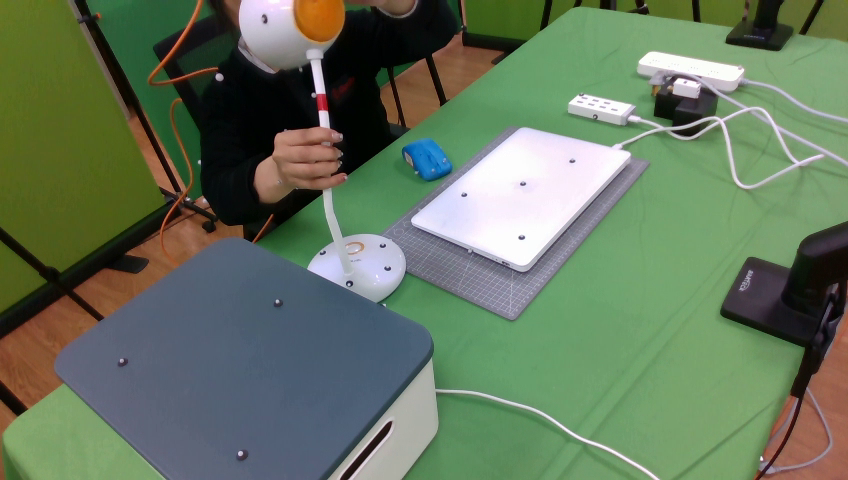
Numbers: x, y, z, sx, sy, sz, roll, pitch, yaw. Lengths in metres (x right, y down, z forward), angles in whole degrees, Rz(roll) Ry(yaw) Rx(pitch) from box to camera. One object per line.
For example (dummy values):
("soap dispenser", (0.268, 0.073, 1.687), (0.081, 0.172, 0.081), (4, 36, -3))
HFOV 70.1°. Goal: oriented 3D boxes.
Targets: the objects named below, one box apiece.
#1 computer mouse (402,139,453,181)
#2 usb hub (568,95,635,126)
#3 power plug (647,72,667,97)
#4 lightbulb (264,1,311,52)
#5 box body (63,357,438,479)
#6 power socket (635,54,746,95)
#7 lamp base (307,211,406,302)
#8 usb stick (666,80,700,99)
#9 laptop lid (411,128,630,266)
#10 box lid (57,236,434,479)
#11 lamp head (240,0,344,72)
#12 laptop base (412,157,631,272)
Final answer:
("computer mouse", (0.005, -0.159, 1.165), (0.063, 0.041, 0.116), (-21, 45, -17))
("usb hub", (0.360, -0.264, 1.228), (0.124, 0.025, 0.049), (24, 49, 34))
("power plug", (0.493, -0.321, 1.261), (0.073, 0.052, 0.035), (1, 20, -41))
("lightbulb", (-0.169, -0.274, 0.761), (0.060, 0.059, 0.107), (-22, 9, -15))
("box body", (-0.189, 0.179, 0.702), (0.361, 0.161, 0.255), (22, 49, 32))
("power socket", (0.564, -0.357, 1.293), (0.225, 0.033, 0.072), (24, 51, 33))
("lamp base", (-0.114, -0.002, 0.887), (0.161, 0.181, 0.178), (-14, 44, -5))
("usb stick", (0.492, -0.288, 1.152), (0.058, 0.027, 0.021), (20, 50, 34))
("laptop lid", (0.172, -0.093, 1.049), (0.239, 0.013, 0.358), (24, 50, 36))
("box lid", (-0.198, 0.123, 0.653), (0.368, 0.015, 0.264), (22, 49, 32))
("lamp head", (-0.152, -0.264, 0.742), (0.113, 0.113, 0.122), (-33, 31, -26))
("laptop base", (0.176, -0.083, 1.055), (0.233, 0.023, 0.355), (21, 48, 36))
